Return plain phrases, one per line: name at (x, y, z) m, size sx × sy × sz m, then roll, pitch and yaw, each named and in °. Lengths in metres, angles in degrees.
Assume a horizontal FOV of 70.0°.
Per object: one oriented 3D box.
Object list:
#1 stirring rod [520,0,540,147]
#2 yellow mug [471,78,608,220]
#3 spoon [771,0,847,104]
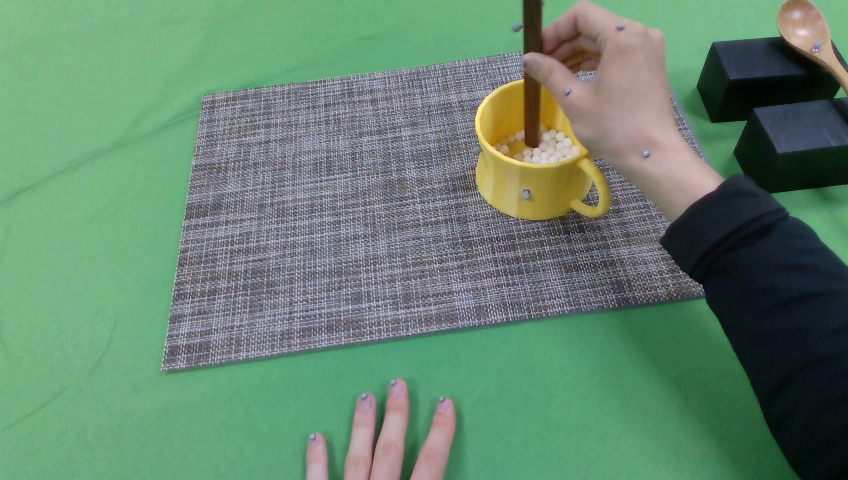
stirring rod at (0.080, -0.129, 0.459) m, size 0.014 × 0.178 × 0.006 m, roll 17°, pitch 64°, yaw 18°
yellow mug at (0.098, -0.065, 0.489) m, size 0.100 × 0.064 × 0.129 m, roll -34°, pitch 60°, yaw -18°
spoon at (0.329, -0.125, 0.482) m, size 0.041 × 0.022 × 0.192 m, roll -8°, pitch 57°, yaw -1°
